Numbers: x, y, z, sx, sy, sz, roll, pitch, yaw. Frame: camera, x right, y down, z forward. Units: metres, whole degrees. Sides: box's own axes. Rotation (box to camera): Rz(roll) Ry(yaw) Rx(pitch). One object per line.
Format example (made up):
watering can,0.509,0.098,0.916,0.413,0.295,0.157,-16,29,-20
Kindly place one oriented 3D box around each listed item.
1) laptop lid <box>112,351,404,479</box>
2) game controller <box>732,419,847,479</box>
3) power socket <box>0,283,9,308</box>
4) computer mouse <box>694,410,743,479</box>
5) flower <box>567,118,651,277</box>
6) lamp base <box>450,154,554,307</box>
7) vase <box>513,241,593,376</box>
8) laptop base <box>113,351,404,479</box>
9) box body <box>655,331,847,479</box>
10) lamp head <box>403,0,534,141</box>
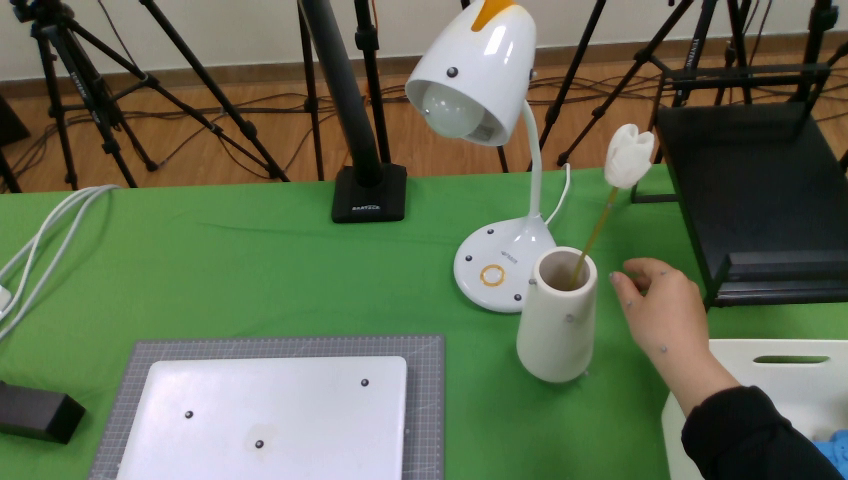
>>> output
laptop lid,-0.205,0.248,0.753,0.356,0.013,0.239,-1,55,5
game controller,0.429,0.251,0.681,0.155,0.052,0.096,1,51,4
power socket,-0.695,0.147,0.882,0.072,0.033,0.225,5,53,8
computer mouse,0.322,0.247,0.697,0.063,0.041,0.116,-3,43,5
flower,0.168,0.029,0.682,0.038,0.364,0.043,-2,41,-18
lamp base,0.120,-0.025,0.846,0.159,0.182,0.178,27,57,24
vase,0.159,0.087,0.743,0.098,0.202,0.097,-4,51,5
laptop base,-0.204,0.253,0.764,0.354,0.023,0.233,-2,56,4
box body,0.388,0.287,0.590,0.254,0.162,0.360,0,52,6
lamp head,0.055,-0.171,0.584,0.111,0.113,0.122,24,76,22
